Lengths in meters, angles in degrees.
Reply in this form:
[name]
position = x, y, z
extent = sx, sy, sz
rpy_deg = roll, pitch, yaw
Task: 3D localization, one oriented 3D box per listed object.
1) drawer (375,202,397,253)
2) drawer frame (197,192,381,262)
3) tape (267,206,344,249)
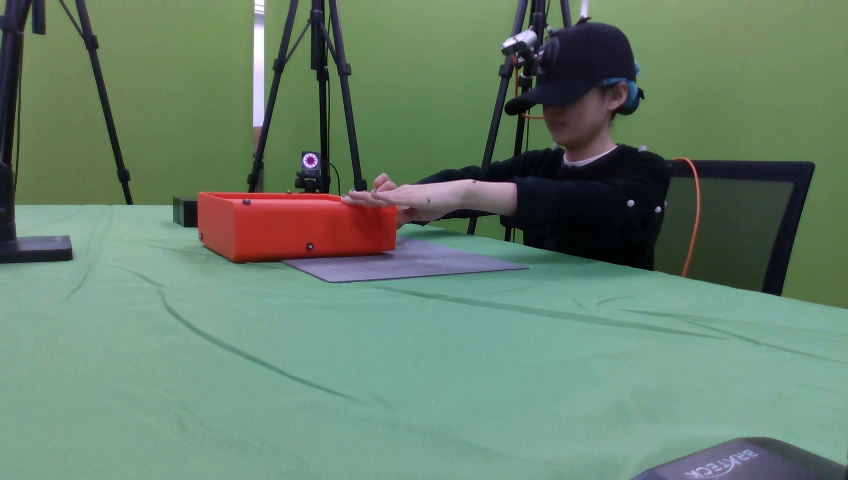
[drawer]
position = -0.178, -0.025, 0.909
extent = 0.213, 0.073, 0.193
rpy_deg = -3, 10, -34
[drawer frame]
position = -0.201, -0.026, 0.892
extent = 0.215, 0.082, 0.200
rpy_deg = -3, 10, -34
[tape]
position = -0.180, -0.020, 0.918
extent = 0.117, 0.052, 0.117
rpy_deg = 3, 8, 0
